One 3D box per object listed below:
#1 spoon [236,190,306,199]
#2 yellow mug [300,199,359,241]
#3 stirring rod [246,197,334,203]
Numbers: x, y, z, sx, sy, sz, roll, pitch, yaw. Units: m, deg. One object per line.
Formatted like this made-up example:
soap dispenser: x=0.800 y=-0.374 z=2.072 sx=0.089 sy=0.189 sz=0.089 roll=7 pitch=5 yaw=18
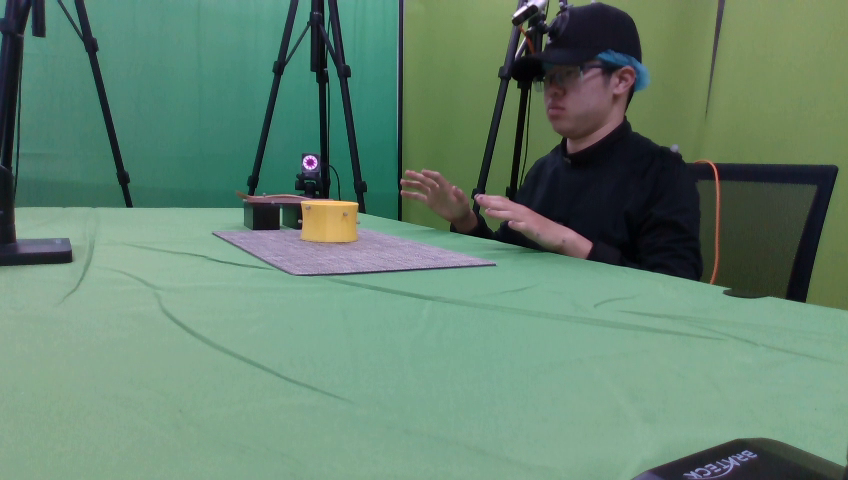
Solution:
spoon: x=-0.290 y=-0.088 z=1.248 sx=0.195 sy=0.021 sz=0.041 roll=0 pitch=7 yaw=-31
yellow mug: x=-0.157 y=-0.036 z=1.060 sx=0.099 sy=0.064 sz=0.131 roll=6 pitch=7 yaw=27
stirring rod: x=-0.263 y=-0.079 z=1.200 sx=0.177 sy=0.006 sz=0.014 roll=-2 pitch=46 yaw=-29
